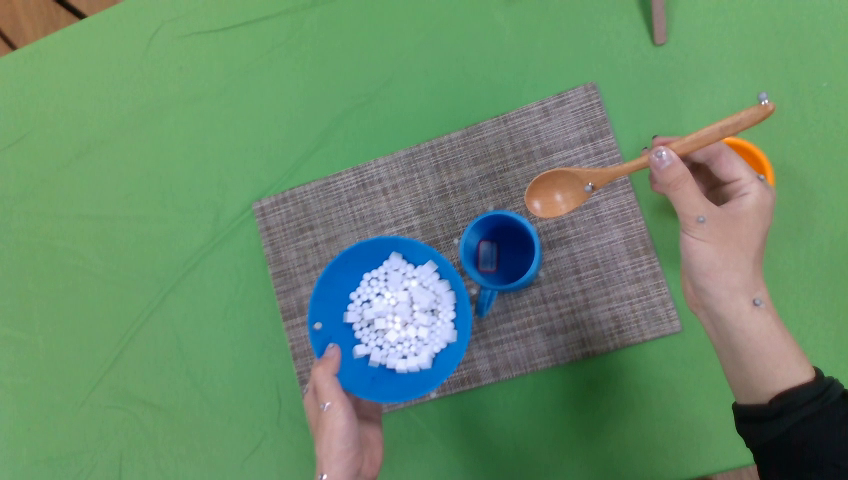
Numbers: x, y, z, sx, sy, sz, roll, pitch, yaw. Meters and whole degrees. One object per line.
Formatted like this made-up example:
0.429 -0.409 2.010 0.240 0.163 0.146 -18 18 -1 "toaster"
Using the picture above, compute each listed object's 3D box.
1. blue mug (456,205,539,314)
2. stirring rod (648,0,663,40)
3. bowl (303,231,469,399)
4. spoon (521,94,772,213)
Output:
0.077 0.026 0.659 0.082 0.106 0.116 21 90 12 "blue mug"
0.253 -0.314 0.673 0.014 0.006 0.177 -9 106 5 "stirring rod"
-0.031 0.070 0.577 0.151 0.077 0.151 0 85 6 "bowl"
0.153 -0.060 0.447 0.193 0.021 0.042 -19 110 45 "spoon"
